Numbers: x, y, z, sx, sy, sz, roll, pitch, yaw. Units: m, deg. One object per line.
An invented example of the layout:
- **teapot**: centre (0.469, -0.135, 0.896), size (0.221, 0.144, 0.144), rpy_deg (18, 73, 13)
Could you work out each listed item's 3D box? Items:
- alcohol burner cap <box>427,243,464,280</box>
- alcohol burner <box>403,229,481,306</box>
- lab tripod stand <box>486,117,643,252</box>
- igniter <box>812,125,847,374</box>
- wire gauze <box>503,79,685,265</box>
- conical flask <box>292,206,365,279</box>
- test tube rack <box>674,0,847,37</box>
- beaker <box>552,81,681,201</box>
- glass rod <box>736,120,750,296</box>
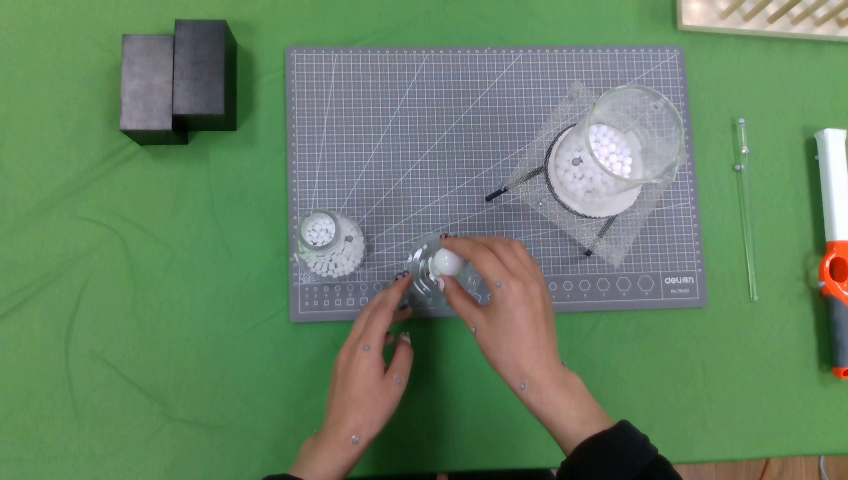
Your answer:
- **alcohol burner cap**: centre (0.021, 0.018, 0.552), size (0.034, 0.048, 0.033), rpy_deg (1, 79, -6)
- **alcohol burner**: centre (0.018, 0.025, 0.591), size (0.078, 0.119, 0.077), rpy_deg (0, 83, -2)
- **lab tripod stand**: centre (0.143, -0.056, 0.600), size (0.148, 0.131, 0.148), rpy_deg (0, 84, -3)
- **igniter**: centre (0.460, 0.008, 0.673), size (0.057, 0.025, 0.275), rpy_deg (2, 83, -15)
- **wire gauze**: centre (0.150, -0.062, 0.535), size (0.125, 0.011, 0.121), rpy_deg (35, 85, -1)
- **conical flask**: centre (-0.096, -0.003, 0.581), size (0.075, 0.122, 0.075), rpy_deg (1, 83, -4)
- **test tube rack**: centre (0.416, -0.281, 0.675), size (0.243, 0.085, 0.066), rpy_deg (2, 82, -4)
- **beaker**: centre (0.150, -0.071, 0.488), size (0.074, 0.100, 0.084), rpy_deg (-41, 87, -7)
- **glass rod**: centre (0.359, -0.037, 0.680), size (0.008, 0.008, 0.199), rpy_deg (0, 86, -5)
